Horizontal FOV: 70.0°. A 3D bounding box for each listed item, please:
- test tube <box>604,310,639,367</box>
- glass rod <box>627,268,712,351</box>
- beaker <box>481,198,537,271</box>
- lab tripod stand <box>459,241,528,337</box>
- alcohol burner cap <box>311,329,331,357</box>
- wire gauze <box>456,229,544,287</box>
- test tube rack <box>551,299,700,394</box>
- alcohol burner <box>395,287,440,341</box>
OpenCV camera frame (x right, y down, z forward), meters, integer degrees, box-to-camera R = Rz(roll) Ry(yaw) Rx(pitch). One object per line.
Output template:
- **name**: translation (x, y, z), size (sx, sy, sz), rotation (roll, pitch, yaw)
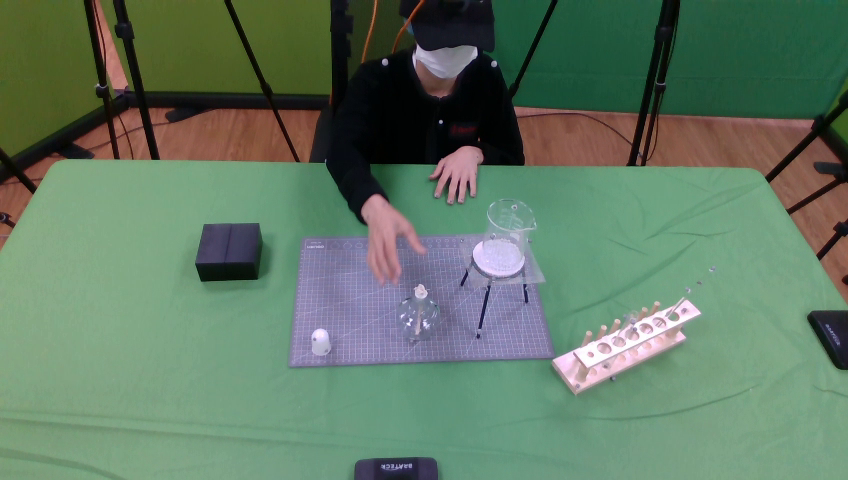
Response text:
- **test tube**: translation (0.310, 0.158, 0.957), size (0.017, 0.151, 0.017), rotation (1, 49, -1)
- **glass rod**: translation (0.399, 0.117, 0.995), size (0.008, 0.200, 0.008), rotation (26, 29, -16)
- **beaker**: translation (0.133, -0.005, 0.974), size (0.084, 0.101, 0.074), rotation (23, 49, 16)
- **lab tripod stand**: translation (0.122, 0.075, 1.054), size (0.148, 0.132, 0.147), rotation (3, 44, -3)
- **alcohol burner cap**: translation (-0.173, 0.168, 1.005), size (0.034, 0.048, 0.033), rotation (2, 46, -2)
- **wire gauze**: translation (0.125, 0.030, 1.008), size (0.125, 0.011, 0.120), rotation (-3, 48, -11)
- **test tube rack**: translation (0.339, 0.166, 1.021), size (0.242, 0.085, 0.066), rotation (-19, 50, -21)
- **alcohol burner**: translation (-0.010, 0.116, 1.018), size (0.078, 0.119, 0.077), rotation (3, 47, -3)
